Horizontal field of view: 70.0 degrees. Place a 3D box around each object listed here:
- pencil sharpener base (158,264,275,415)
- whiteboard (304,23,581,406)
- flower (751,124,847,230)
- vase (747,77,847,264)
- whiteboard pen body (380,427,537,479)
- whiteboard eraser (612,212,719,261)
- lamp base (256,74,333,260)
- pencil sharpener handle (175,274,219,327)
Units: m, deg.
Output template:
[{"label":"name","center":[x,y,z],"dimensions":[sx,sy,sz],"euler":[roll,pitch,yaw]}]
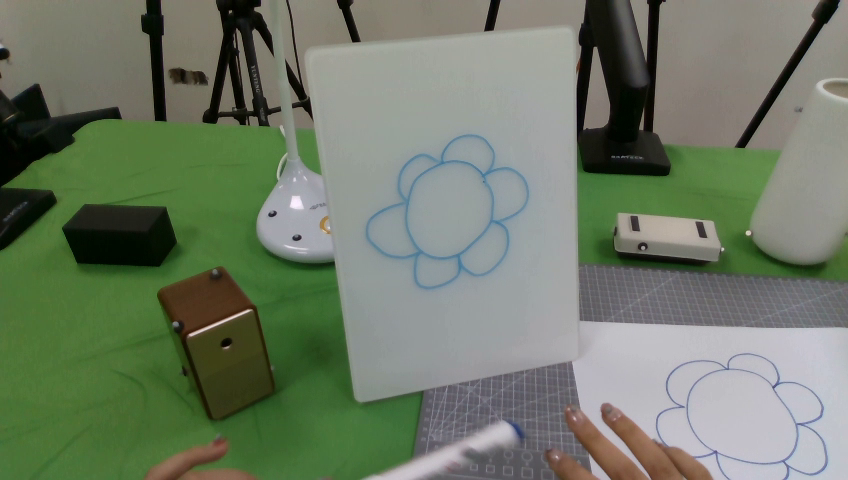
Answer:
[{"label":"pencil sharpener base","center":[-0.181,0.086,0.531],"dimensions":[0.061,0.108,0.076],"euler":[-24,42,-28]},{"label":"whiteboard","center":[0.017,-0.032,0.573],"dimensions":[0.217,0.307,0.143],"euler":[-8,18,-9]},{"label":"flower","center":[0.440,-0.128,0.602],"dimensions":[0.044,0.364,0.038],"euler":[-10,55,-23]},{"label":"vase","center":[0.433,-0.071,0.664],"dimensions":[0.098,0.201,0.097],"euler":[1,37,0]},{"label":"whiteboard pen body","center":[0.005,0.139,0.359],"dimensions":[0.141,0.017,0.017],"euler":[-12,38,-21]},{"label":"whiteboard eraser","center":[0.278,-0.002,0.705],"dimensions":[0.112,0.042,0.055],"euler":[4,34,8]},{"label":"lamp base","center":[-0.136,-0.094,0.716],"dimensions":[0.161,0.182,0.177],"euler":[-27,42,-32]},{"label":"pencil sharpener handle","center":[-0.209,0.052,0.558],"dimensions":[0.036,0.068,0.030],"euler":[-30,45,-22]}]
